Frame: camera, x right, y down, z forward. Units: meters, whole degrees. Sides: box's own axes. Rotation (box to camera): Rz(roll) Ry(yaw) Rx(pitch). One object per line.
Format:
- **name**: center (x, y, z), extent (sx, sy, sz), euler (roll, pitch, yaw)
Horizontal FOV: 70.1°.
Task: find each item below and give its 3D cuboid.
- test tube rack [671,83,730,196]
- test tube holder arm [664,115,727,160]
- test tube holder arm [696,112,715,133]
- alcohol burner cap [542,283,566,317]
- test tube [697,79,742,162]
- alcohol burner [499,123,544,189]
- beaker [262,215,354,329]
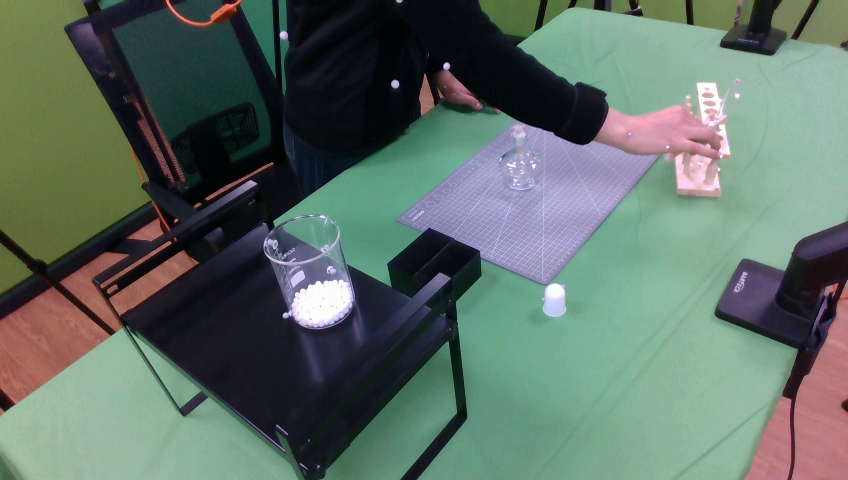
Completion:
- **test tube rack**: center (0.482, -0.184, 1.067), extent (0.066, 0.085, 0.242), euler (6, 42, 14)
- **test tube holder arm**: center (0.422, -0.161, 0.935), extent (0.179, 0.015, 0.013), euler (-30, 45, -34)
- **test tube holder arm**: center (0.448, -0.183, 0.965), extent (0.010, 0.015, 0.088), euler (22, 42, 27)
- **alcohol burner cap**: center (0.182, 0.081, 0.839), extent (0.034, 0.048, 0.033), euler (-4, 41, 4)
- **test tube**: center (0.486, -0.194, 0.999), extent (0.017, 0.150, 0.017), euler (5, 40, -3)
- **alcohol burner**: center (0.169, -0.149, 1.048), extent (0.078, 0.119, 0.077), euler (-6, 41, 5)
- **beaker**: center (-0.112, 0.034, 0.616), extent (0.073, 0.101, 0.084), euler (13, 44, 23)
